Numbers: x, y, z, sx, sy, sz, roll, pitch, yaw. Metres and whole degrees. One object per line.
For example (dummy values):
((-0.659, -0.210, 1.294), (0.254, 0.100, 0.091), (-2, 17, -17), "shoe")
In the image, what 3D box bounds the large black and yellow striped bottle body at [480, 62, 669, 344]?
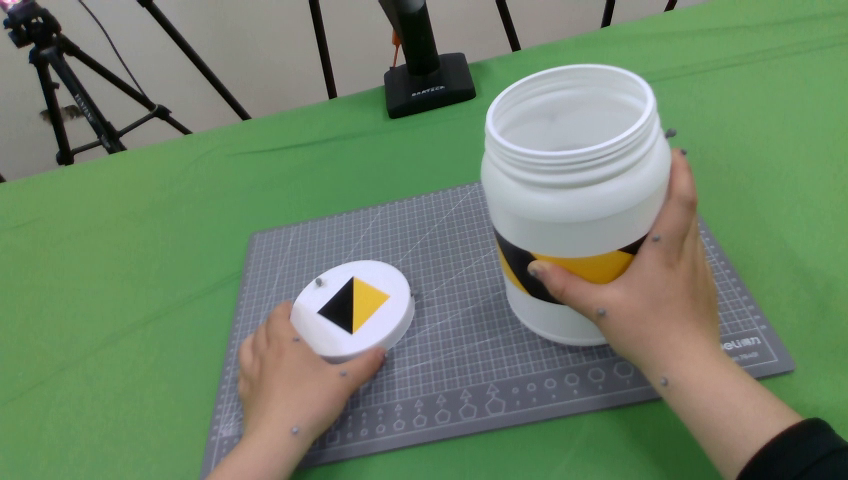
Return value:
((0.114, -0.025, 0.457), (0.130, 0.186, 0.129), (-10, 43, 9), "large black and yellow striped bottle body")

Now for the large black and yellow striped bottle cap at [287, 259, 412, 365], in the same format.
((-0.068, 0.062, 0.552), (0.115, 0.019, 0.114), (-8, 43, 8), "large black and yellow striped bottle cap")
